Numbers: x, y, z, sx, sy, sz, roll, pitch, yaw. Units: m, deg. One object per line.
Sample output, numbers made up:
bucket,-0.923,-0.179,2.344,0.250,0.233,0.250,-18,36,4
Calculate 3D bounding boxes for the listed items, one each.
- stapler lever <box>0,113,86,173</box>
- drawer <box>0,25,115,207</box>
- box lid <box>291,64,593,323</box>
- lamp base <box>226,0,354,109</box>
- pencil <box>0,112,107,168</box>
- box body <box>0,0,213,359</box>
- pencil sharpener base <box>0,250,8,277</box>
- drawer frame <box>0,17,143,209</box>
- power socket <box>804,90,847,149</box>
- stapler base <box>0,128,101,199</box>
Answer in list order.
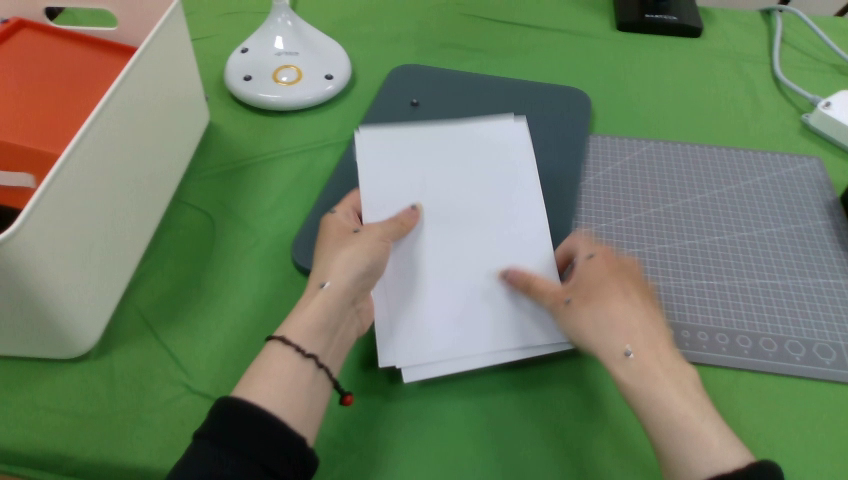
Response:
stapler lever,-0.368,-0.097,0.556,0.118,0.040,0.026,23,37,5
drawer,-0.356,-0.120,0.594,0.195,0.074,0.209,13,39,-7
box lid,0.038,-0.077,0.664,0.262,0.015,0.369,11,49,10
lamp base,-0.175,-0.279,0.729,0.161,0.182,0.177,-12,47,-11
pencil,-0.376,-0.101,0.595,0.193,0.012,0.012,23,52,22
box body,-0.378,-0.081,0.562,0.254,0.162,0.360,4,48,2
pencil sharpener base,-0.425,0.008,0.511,0.077,0.108,0.060,-3,48,-2
drawer frame,-0.357,-0.123,0.595,0.202,0.083,0.211,12,39,-7
power socket,0.545,-0.098,0.675,0.072,0.033,0.224,-26,53,-22
stapler base,-0.372,-0.079,0.571,0.130,0.024,0.041,22,37,6
